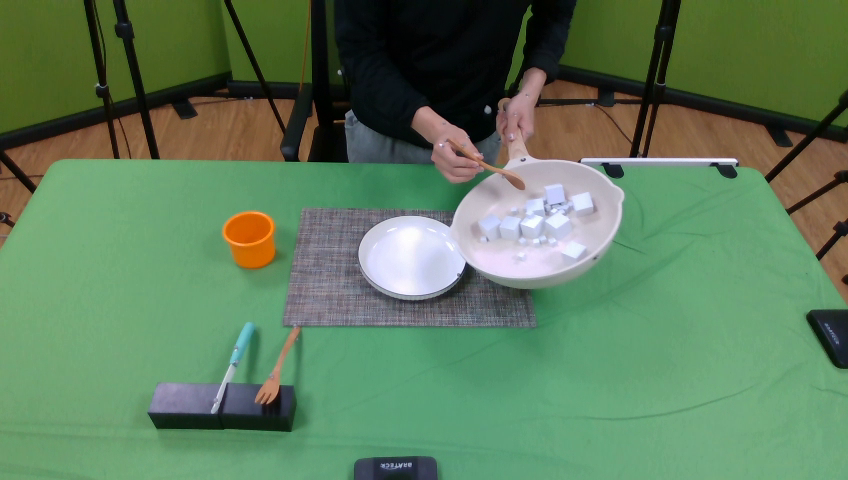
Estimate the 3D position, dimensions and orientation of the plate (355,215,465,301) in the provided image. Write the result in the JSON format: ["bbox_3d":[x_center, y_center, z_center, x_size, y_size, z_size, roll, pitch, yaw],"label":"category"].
[{"bbox_3d":[-0.025,0.038,1.143,0.208,0.039,0.206,3,46,-2],"label":"plate"}]

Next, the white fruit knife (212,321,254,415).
[{"bbox_3d":[-0.298,0.193,0.947,0.016,0.027,0.206,1,31,0],"label":"white fruit knife"}]

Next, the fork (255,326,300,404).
[{"bbox_3d":[-0.226,0.192,0.955,0.028,0.019,0.206,-1,27,4],"label":"fork"}]

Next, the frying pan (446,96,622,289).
[{"bbox_3d":[0.187,-0.109,1.130,0.307,0.103,0.484,-12,52,10],"label":"frying pan"}]

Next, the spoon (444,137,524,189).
[{"bbox_3d":[0.108,-0.135,1.067,0.195,0.021,0.041,22,-1,-35],"label":"spoon"}]
